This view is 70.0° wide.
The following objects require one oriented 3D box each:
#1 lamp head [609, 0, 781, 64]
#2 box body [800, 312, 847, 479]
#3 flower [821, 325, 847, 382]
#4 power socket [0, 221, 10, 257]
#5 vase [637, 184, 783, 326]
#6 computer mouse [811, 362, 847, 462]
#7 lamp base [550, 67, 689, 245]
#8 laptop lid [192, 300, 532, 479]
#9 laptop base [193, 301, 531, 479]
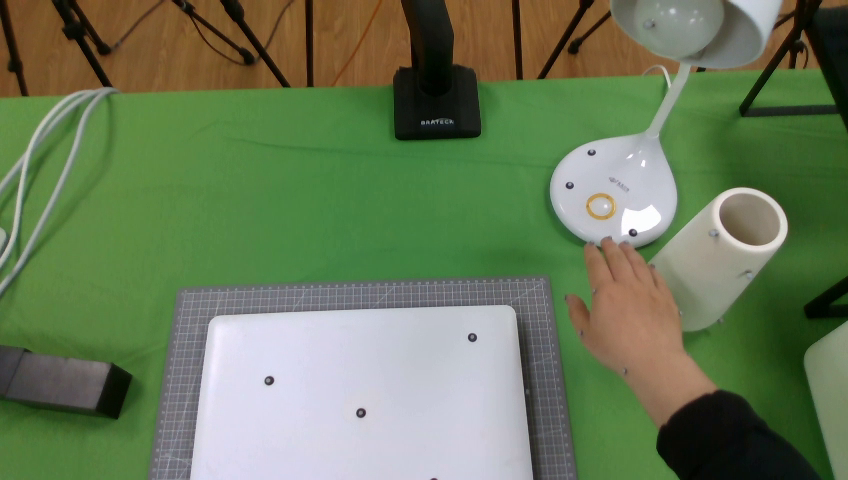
[{"bbox_3d":[0.208,-0.203,0.432,0.112,0.113,0.122,26,84,13],"label":"lamp head"},{"bbox_3d":[0.545,0.235,0.559,0.254,0.161,0.361,-1,64,0],"label":"box body"},{"bbox_3d":[0.468,0.261,0.594,0.044,0.038,0.359,9,65,-45],"label":"flower"},{"bbox_3d":[-0.567,0.066,0.716,0.072,0.033,0.225,6,63,2],"label":"power socket"},{"bbox_3d":[0.297,0.019,0.645,0.098,0.201,0.097,-1,62,2],"label":"vase"},{"bbox_3d":[0.468,0.184,0.646,0.063,0.041,0.116,-7,56,2],"label":"computer mouse"},{"bbox_3d":[0.249,-0.110,0.720,0.160,0.181,0.178,29,65,14],"label":"lamp base"},{"bbox_3d":[-0.066,0.181,0.654,0.357,0.013,0.239,-1,66,0],"label":"laptop lid"},{"bbox_3d":[-0.066,0.184,0.665,0.354,0.023,0.233,-2,67,-1],"label":"laptop base"}]
